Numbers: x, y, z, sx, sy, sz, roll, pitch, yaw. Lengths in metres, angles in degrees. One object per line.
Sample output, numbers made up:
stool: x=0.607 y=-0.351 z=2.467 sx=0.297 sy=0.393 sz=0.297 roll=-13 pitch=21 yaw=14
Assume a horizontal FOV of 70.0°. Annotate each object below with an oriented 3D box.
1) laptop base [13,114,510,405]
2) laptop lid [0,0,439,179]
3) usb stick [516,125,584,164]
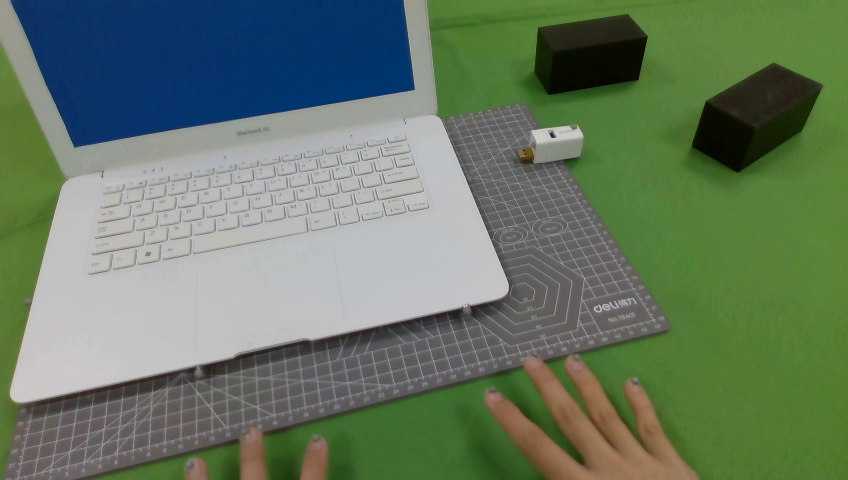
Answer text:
laptop base: x=-0.130 y=-0.002 z=0.504 sx=0.355 sy=0.023 sz=0.233 roll=-12 pitch=50 yaw=-7
laptop lid: x=-0.169 y=-0.184 z=0.519 sx=0.357 sy=0.244 sz=0.013 roll=-13 pitch=33 yaw=-6
usb stick: x=0.115 y=-0.087 z=0.557 sx=0.059 sy=0.027 sz=0.021 roll=-10 pitch=46 yaw=-2
